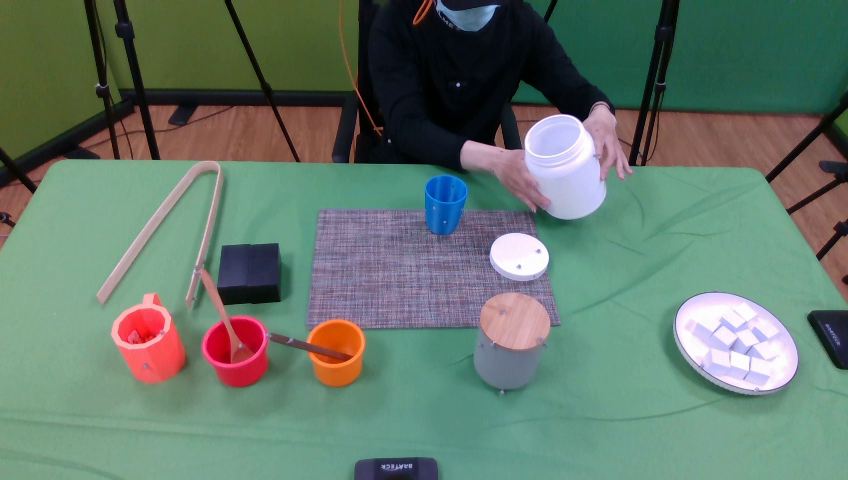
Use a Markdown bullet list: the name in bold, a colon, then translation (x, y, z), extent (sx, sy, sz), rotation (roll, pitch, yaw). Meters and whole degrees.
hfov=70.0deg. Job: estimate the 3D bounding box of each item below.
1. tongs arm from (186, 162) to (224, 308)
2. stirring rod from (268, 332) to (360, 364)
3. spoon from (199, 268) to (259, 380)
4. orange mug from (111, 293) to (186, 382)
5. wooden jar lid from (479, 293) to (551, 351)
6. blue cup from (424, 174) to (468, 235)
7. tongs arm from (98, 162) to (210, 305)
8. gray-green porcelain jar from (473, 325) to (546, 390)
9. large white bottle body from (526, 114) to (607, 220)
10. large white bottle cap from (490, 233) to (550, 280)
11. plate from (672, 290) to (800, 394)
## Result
- **tongs arm**: translation (-0.435, -0.025, 1.181), extent (0.051, 0.027, 0.382), rotation (-3, 45, 1)
- **stirring rod**: translation (-0.167, 0.169, 0.941), extent (0.177, 0.006, 0.014), rotation (26, 25, -41)
- **spoon**: translation (-0.312, 0.132, 0.962), extent (0.041, 0.021, 0.194), rotation (-24, 96, -22)
- **orange mug**: translation (-0.435, 0.149, 0.969), extent (0.083, 0.101, 0.125), rotation (-5, 51, -8)
- **wooden jar lid**: translation (0.137, 0.127, 0.925), extent (0.108, 0.021, 0.107), rotation (1, 47, -1)
- **blue cup**: translation (0.039, -0.065, 1.201), extent (0.093, 0.101, 0.092), rotation (3, 47, -3)
- **tongs arm**: translation (-0.519, -0.027, 1.184), extent (0.028, 0.028, 0.385), rotation (5, 45, 13)
- **gray-green porcelain jar**: translation (0.135, 0.170, 0.969), extent (0.106, 0.127, 0.105), rotation (2, 46, -2)
- **large white bottle body**: translation (0.275, -0.141, 1.176), extent (0.130, 0.186, 0.130), rotation (-14, 50, 18)
- **large white bottle cap**: translation (0.186, 0.031, 1.177), extent (0.115, 0.018, 0.114), rotation (2, 46, -2)
- **plate**: translation (0.533, 0.178, 1.050), extent (0.208, 0.039, 0.206), rotation (2, 46, -2)
